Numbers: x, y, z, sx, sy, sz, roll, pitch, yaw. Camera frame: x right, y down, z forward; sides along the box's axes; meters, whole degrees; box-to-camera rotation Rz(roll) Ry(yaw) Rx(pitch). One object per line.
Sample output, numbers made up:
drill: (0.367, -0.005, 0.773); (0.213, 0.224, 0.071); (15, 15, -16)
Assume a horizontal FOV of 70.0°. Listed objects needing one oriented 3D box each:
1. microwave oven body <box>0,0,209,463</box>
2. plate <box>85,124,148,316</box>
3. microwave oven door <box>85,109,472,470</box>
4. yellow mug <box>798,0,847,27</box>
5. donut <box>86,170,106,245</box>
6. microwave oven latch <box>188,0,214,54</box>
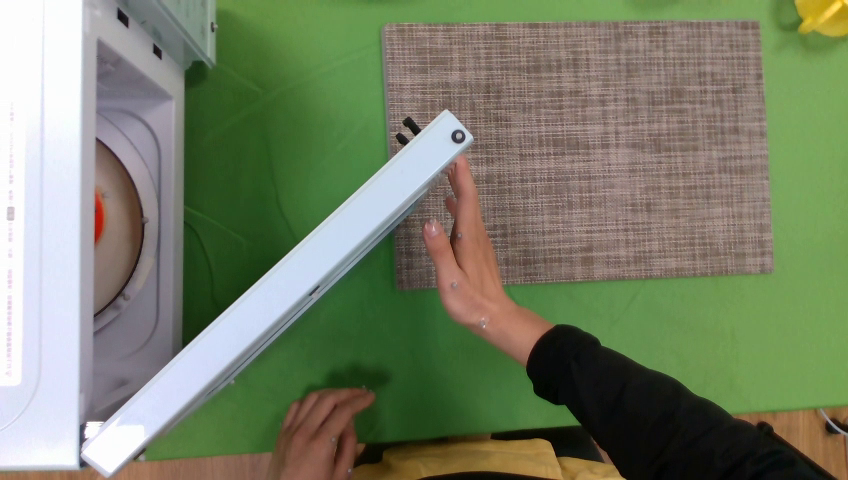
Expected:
microwave oven body: (-0.377, -0.064, 0.526); (0.326, 0.260, 0.441); (0, 90, -5)
plate: (-0.370, -0.019, 0.577); (0.209, 0.038, 0.209); (0, 91, -7)
microwave oven door: (-0.109, 0.033, 0.544); (0.355, 0.243, 0.039); (-44, 91, -4)
yellow mug: (0.489, -0.298, 0.703); (0.131, 0.064, 0.100); (-45, 93, -3)
donut: (-0.352, -0.030, 0.571); (0.099, 0.048, 0.099); (0, 95, -4)
microwave oven latch: (-0.237, -0.239, 0.635); (0.030, 0.029, 0.079); (4, 90, -5)
